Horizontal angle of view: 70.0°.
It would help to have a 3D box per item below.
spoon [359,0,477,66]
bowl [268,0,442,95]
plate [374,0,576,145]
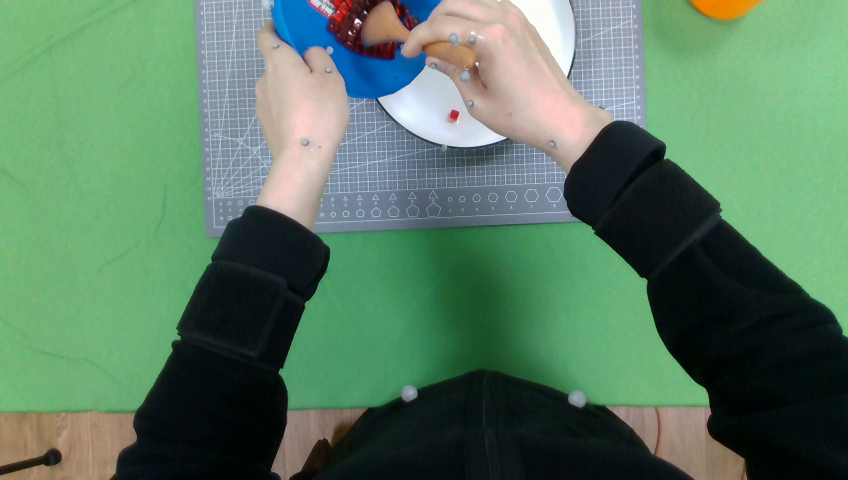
[{"bbox_3d":[-0.008,-0.151,0.444,0.022,0.191,0.041,26,101,-38],"label":"spoon"},{"bbox_3d":[-0.067,-0.199,0.498,0.152,0.076,0.152,-13,113,-34],"label":"bowl"},{"bbox_3d":[0.041,-0.196,0.592,0.209,0.038,0.209,0,91,3],"label":"plate"}]
